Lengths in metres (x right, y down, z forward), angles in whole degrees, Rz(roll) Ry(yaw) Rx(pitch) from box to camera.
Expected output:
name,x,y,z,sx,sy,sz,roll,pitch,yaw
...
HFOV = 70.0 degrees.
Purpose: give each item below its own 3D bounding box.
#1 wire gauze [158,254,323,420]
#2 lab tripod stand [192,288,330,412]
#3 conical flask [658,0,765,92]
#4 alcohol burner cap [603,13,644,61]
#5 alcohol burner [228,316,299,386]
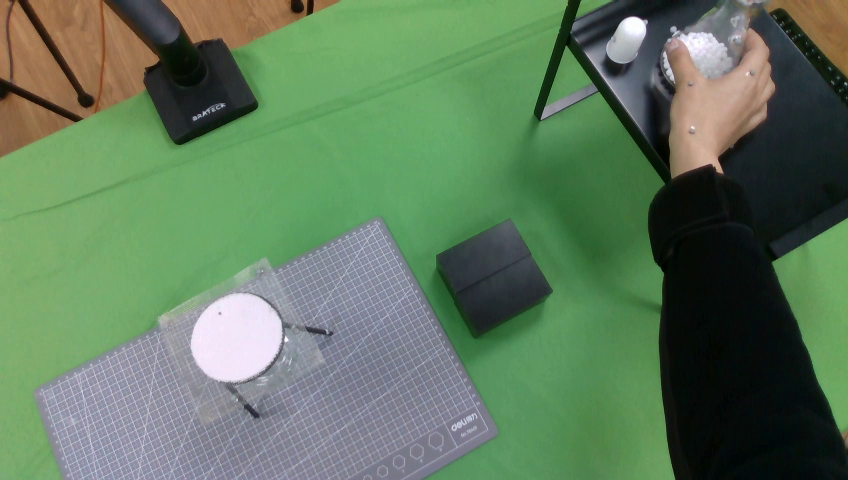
name,x,y,z,sx,sy,sz,roll,pitch,yaw
wire gauze,-0.180,0.091,0.583,0.125,0.011,0.120,-28,75,-7
lab tripod stand,-0.184,0.108,0.649,0.148,0.132,0.147,0,74,2
conical flask,0.274,-0.198,0.563,0.075,0.122,0.075,0,73,0
alcohol burner cap,0.202,-0.206,0.606,0.034,0.048,0.033,0,74,0
alcohol burner,-0.178,0.118,0.656,0.078,0.119,0.077,0,75,1
